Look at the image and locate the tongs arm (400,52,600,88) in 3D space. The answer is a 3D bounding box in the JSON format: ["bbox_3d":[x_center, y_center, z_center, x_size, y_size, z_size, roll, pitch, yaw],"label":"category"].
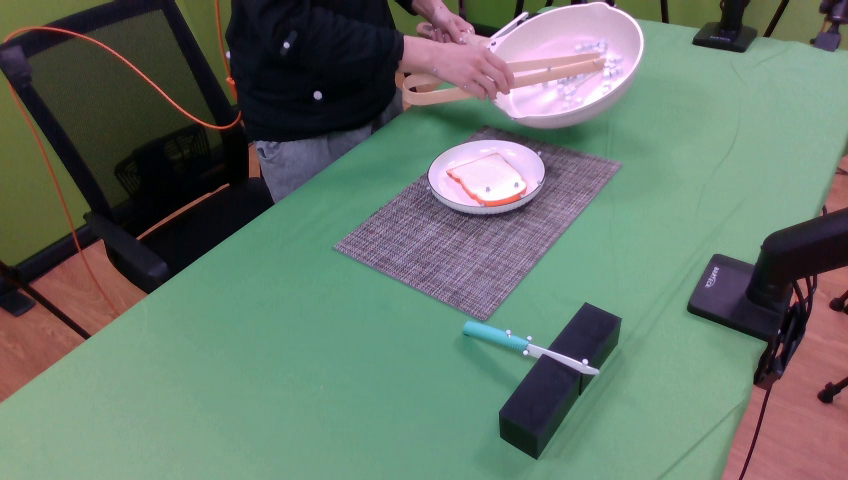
[{"bbox_3d":[0.142,-0.307,1.097,0.389,0.028,0.028,-11,56,-11],"label":"tongs arm"}]

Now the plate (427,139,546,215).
[{"bbox_3d":[0.109,-0.106,1.058,0.207,0.039,0.206,-4,40,4],"label":"plate"}]

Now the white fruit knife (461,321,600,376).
[{"bbox_3d":[0.126,0.133,0.752,0.205,0.027,0.016,12,45,42],"label":"white fruit knife"}]

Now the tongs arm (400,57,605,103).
[{"bbox_3d":[0.146,-0.294,1.086,0.386,0.026,0.050,-16,54,-15],"label":"tongs arm"}]

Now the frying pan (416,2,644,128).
[{"bbox_3d":[0.178,-0.360,1.174,0.484,0.103,0.307,28,70,29],"label":"frying pan"}]

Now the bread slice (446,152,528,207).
[{"bbox_3d":[0.117,-0.104,1.057,0.107,0.018,0.133,-24,42,-18],"label":"bread slice"}]
